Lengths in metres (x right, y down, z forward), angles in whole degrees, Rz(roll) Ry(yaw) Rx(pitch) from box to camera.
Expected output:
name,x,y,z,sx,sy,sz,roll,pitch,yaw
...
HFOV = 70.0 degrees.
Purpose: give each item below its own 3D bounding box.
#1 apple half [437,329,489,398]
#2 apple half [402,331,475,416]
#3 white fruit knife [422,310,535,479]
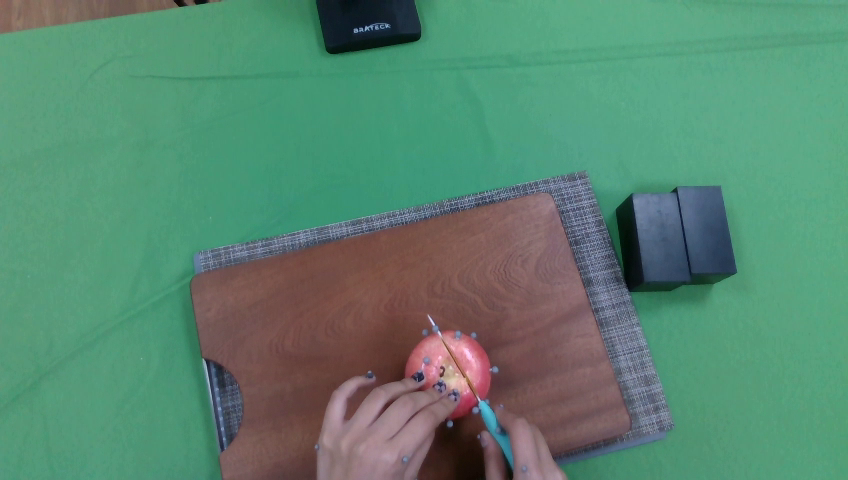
name,x,y,z,sx,sy,sz,roll,pitch,yaw
apple half,0.042,0.114,0.584,0.033,0.081,0.081,-32,78,-10
apple half,0.007,0.134,0.578,0.053,0.075,0.080,-31,82,-6
white fruit knife,0.052,0.154,0.560,0.016,0.027,0.206,-31,82,-10
